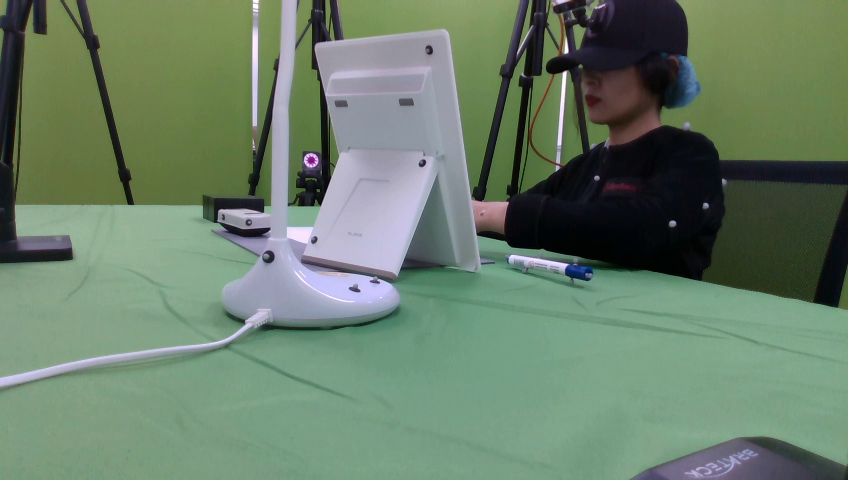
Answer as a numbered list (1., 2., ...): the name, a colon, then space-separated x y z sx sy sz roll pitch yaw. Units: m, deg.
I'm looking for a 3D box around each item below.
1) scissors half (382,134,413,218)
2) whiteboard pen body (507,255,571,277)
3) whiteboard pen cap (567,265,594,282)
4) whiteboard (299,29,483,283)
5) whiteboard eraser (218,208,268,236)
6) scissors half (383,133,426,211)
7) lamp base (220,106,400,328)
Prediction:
1. scissors half: -0.056 -0.119 1.151 0.040 0.175 0.013 -25 27 -24
2. whiteboard pen body: 0.155 0.034 0.772 0.017 0.017 0.140 -2 7 -31
3. whiteboard pen cap: 0.186 0.040 0.722 0.018 0.018 0.033 -2 6 -33
4. whiteboard: -0.074 -0.082 0.742 0.216 0.305 0.144 9 29 38
5. whiteboard eraser: -0.309 -0.031 1.044 0.056 0.042 0.112 -2 9 -40
6. scissors half: -0.040 -0.129 1.157 0.040 0.176 0.012 -37 31 -12
7. lamp base: -0.101 -0.023 0.531 0.160 0.180 0.179 4 10 10
